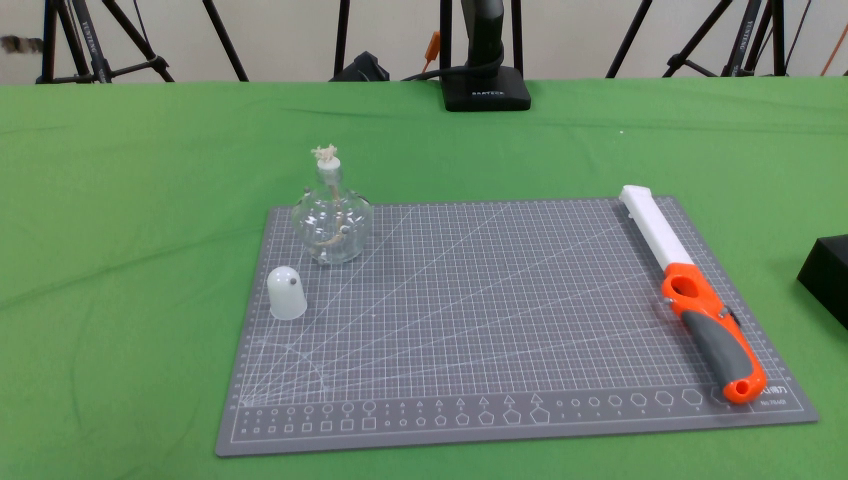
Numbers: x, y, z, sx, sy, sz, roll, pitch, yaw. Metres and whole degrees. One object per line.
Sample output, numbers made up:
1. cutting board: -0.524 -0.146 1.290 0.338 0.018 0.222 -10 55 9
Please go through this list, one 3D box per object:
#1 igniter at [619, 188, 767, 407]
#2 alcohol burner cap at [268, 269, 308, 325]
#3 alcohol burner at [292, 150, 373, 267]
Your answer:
1. igniter: 0.239 0.037 0.559 0.057 0.025 0.273 7 38 -10
2. alcohol burner cap: -0.119 0.046 0.525 0.034 0.048 0.033 2 39 -1
3. alcohol burner: -0.086 -0.033 0.567 0.078 0.120 0.077 2 41 -1
